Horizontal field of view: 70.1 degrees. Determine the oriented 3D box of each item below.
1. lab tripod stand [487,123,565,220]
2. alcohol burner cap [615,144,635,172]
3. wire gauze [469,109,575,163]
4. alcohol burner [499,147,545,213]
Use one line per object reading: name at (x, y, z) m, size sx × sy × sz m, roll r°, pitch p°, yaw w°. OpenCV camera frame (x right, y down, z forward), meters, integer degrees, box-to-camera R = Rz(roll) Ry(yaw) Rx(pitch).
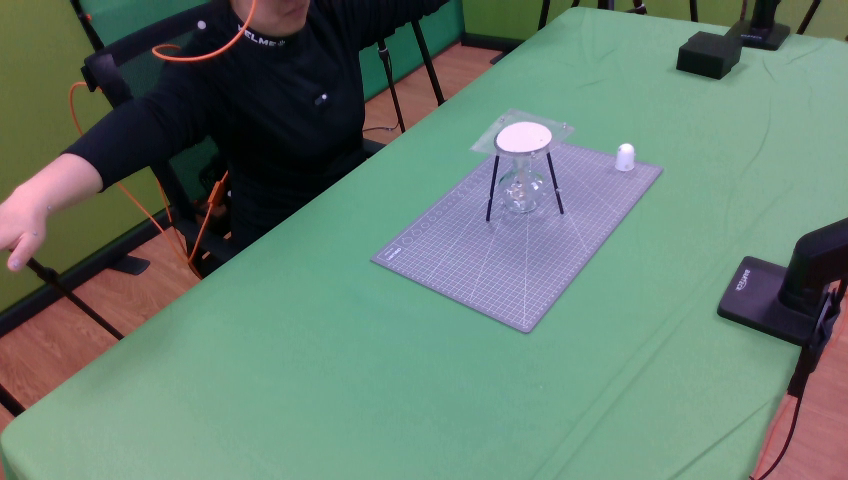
lab tripod stand at (0.162, -0.110, 0.992) m, size 0.148 × 0.132 × 0.147 m, roll -5°, pitch 42°, yaw 5°
alcohol burner cap at (0.357, -0.147, 1.069) m, size 0.034 × 0.048 × 0.033 m, roll -7°, pitch 40°, yaw 6°
wire gauze at (0.154, -0.163, 0.950) m, size 0.120 × 0.011 × 0.125 m, roll 22°, pitch 50°, yaw 32°
alcohol burner at (0.161, -0.104, 1.001) m, size 0.078 × 0.120 × 0.077 m, roll -6°, pitch 42°, yaw 6°
